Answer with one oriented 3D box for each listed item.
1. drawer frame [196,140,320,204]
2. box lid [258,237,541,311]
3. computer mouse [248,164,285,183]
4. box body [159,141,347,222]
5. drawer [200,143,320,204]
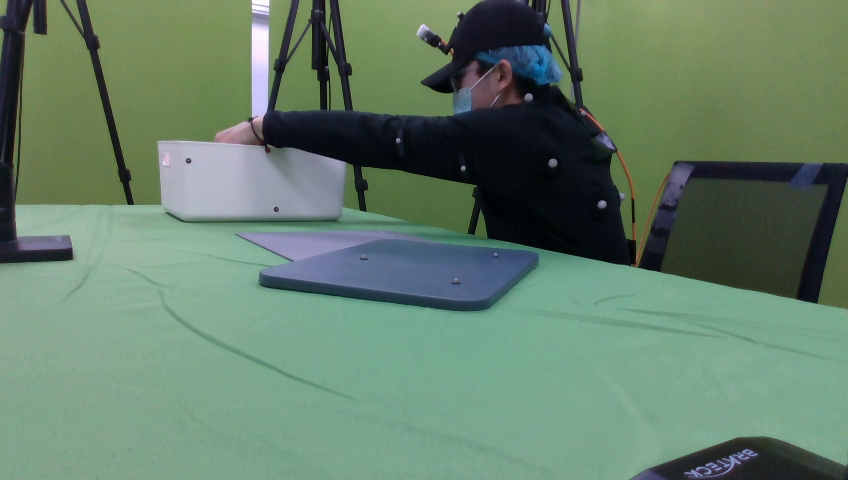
[{"bbox_3d":[-0.375,-0.151,1.360,0.203,0.082,0.212,-16,2,-40],"label":"drawer frame"},{"bbox_3d":[-0.004,0.033,0.774,0.262,0.015,0.372,5,8,19],"label":"box lid"},{"bbox_3d":[-0.322,-0.137,1.277,0.062,0.041,0.117,1,1,19],"label":"computer mouse"},{"bbox_3d":[-0.384,-0.133,1.358,0.366,0.160,0.253,-2,9,-32],"label":"box body"},{"bbox_3d":[-0.371,-0.147,1.360,0.195,0.073,0.211,-17,1,-39],"label":"drawer"}]
